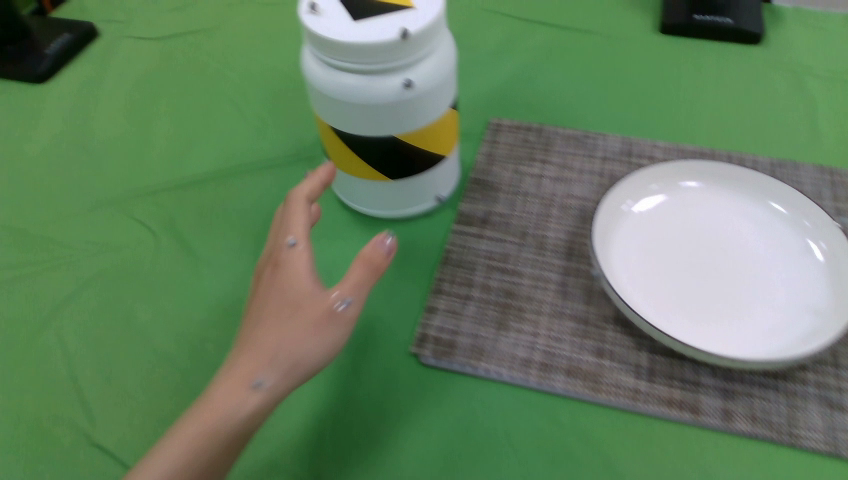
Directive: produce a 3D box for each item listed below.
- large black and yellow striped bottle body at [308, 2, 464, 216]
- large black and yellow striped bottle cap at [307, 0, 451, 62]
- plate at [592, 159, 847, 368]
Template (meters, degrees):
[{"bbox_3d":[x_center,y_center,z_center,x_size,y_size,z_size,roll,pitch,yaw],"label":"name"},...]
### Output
[{"bbox_3d":[-0.030,-0.126,0.545,0.131,0.186,0.129,-2,50,3],"label":"large black and yellow striped bottle body"},{"bbox_3d":[-0.035,-0.180,0.480,0.115,0.019,0.114,-1,49,1],"label":"large black and yellow striped bottle cap"},{"bbox_3d":[0.243,0.017,0.501,0.207,0.039,0.205,-2,50,2],"label":"plate"}]
